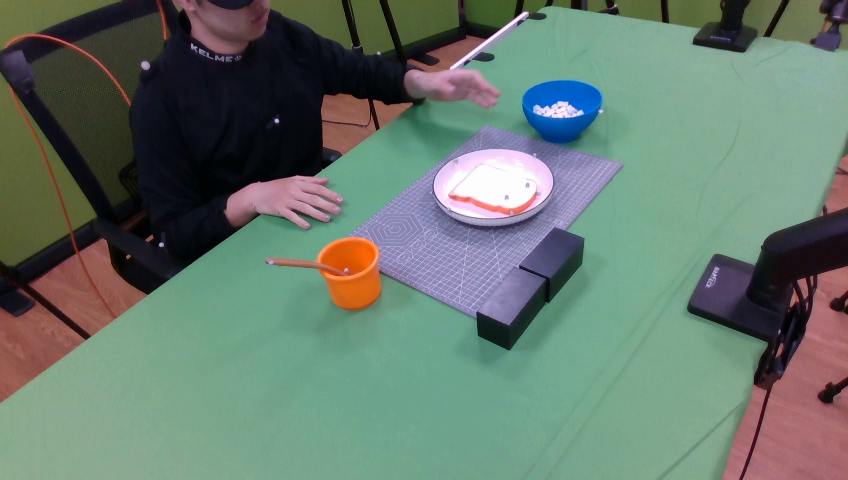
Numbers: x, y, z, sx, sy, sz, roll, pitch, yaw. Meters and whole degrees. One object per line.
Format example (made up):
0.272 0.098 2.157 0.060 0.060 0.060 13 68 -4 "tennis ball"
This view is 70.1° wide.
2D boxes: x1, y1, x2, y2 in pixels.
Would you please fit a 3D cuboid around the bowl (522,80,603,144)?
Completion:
0.264 -0.239 1.166 0.151 0.077 0.150 -4 41 4 "bowl"

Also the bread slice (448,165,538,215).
0.126 -0.085 1.037 0.133 0.018 0.107 17 45 27 "bread slice"

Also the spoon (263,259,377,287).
-0.140 0.042 0.843 0.041 0.195 0.021 35 101 41 "spoon"

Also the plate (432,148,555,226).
0.119 -0.087 1.037 0.209 0.038 0.208 -4 40 4 "plate"
